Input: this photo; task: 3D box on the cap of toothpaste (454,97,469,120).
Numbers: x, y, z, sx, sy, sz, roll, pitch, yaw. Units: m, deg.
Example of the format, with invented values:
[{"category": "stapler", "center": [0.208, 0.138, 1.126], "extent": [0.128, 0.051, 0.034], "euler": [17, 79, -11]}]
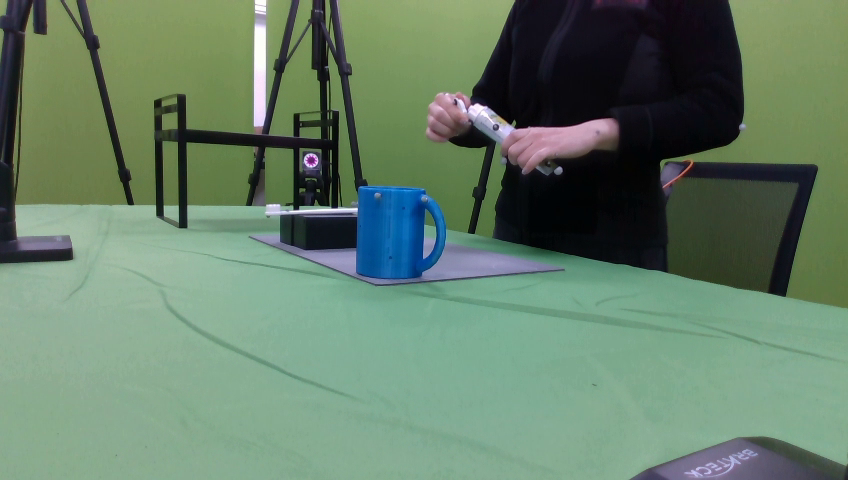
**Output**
[{"category": "cap of toothpaste", "center": [0.059, -0.205, 0.941], "extent": [0.011, 0.037, 0.037], "euler": [-22, 15, -18]}]

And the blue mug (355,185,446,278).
[{"category": "blue mug", "center": [-0.027, -0.011, 0.723], "extent": [0.116, 0.106, 0.083], "euler": [6, 8, 27]}]

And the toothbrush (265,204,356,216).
[{"category": "toothbrush", "center": [-0.160, -0.048, 0.937], "extent": [0.183, 0.016, 0.014], "euler": [-4, 4, -39]}]

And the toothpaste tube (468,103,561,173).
[{"category": "toothpaste tube", "center": [0.134, -0.157, 0.926], "extent": [0.165, 0.034, 0.055], "euler": [38, 42, 12]}]
